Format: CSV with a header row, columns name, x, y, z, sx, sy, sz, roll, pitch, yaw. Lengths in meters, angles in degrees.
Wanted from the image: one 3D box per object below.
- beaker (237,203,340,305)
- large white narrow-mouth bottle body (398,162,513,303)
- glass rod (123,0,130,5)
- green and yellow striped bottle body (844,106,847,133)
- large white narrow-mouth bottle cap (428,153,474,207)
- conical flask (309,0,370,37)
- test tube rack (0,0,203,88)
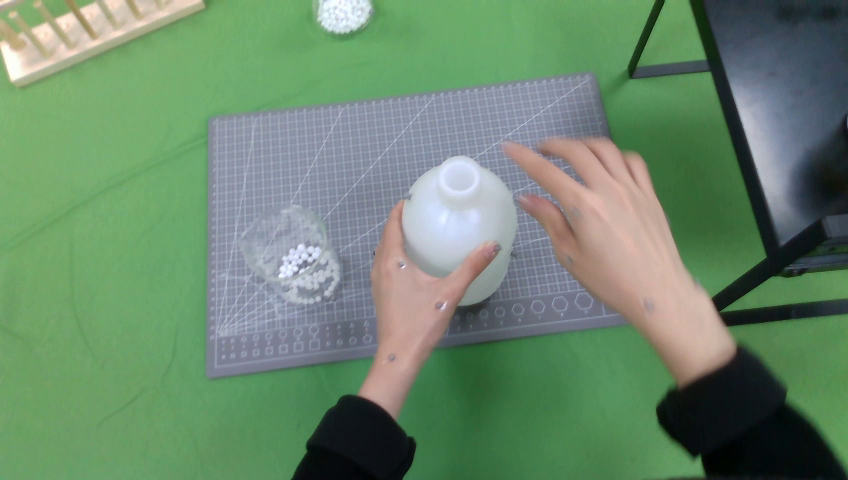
name,x,y,z,sx,sy,sz,roll,pitch,yaw
beaker,-0.126,0.018,0.586,0.084,0.101,0.073,3,68,4
large white narrow-mouth bottle body,0.028,-0.013,0.543,0.102,0.196,0.101,-1,69,4
glass rod,-0.378,-0.342,0.668,0.008,0.201,0.008,-2,61,4
green and yellow striped bottle body,0.357,-0.110,0.419,0.063,0.120,0.062,-1,69,2
large white narrow-mouth bottle cap,0.020,-0.045,0.462,0.038,0.024,0.037,-1,70,4
conical flask,-0.106,-0.301,0.696,0.075,0.123,0.075,-1,69,2
test tube rack,-0.401,-0.278,0.716,0.242,0.086,0.066,-27,70,-8
